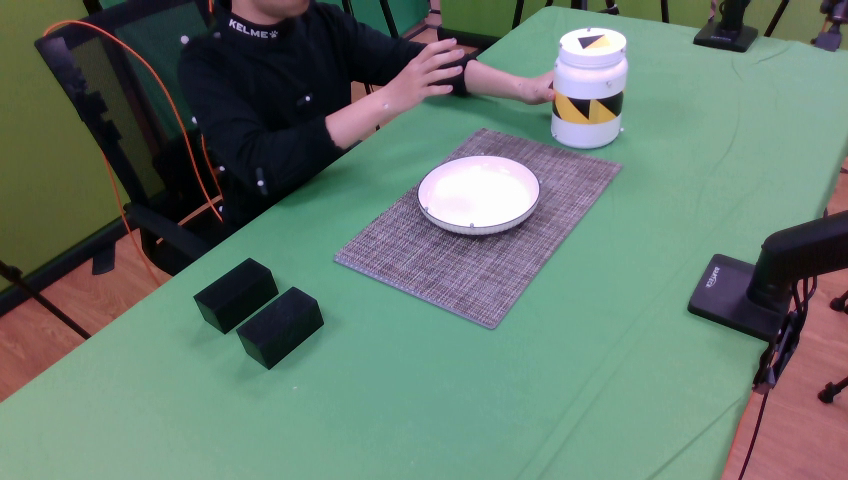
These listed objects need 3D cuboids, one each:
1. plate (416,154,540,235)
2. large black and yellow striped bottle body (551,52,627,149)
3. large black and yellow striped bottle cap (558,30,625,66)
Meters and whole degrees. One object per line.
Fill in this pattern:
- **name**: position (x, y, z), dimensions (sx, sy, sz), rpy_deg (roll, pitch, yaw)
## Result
- **plate**: position (0.090, -0.074, 1.025), dimensions (0.207, 0.039, 0.206), rpy_deg (-4, 41, 4)
- **large black and yellow striped bottle body**: position (0.305, -0.278, 1.125), dimensions (0.131, 0.185, 0.130), rpy_deg (-4, 41, 4)
- **large black and yellow striped bottle cap**: position (0.297, -0.341, 1.070), dimensions (0.115, 0.019, 0.114), rpy_deg (-3, 42, 4)
